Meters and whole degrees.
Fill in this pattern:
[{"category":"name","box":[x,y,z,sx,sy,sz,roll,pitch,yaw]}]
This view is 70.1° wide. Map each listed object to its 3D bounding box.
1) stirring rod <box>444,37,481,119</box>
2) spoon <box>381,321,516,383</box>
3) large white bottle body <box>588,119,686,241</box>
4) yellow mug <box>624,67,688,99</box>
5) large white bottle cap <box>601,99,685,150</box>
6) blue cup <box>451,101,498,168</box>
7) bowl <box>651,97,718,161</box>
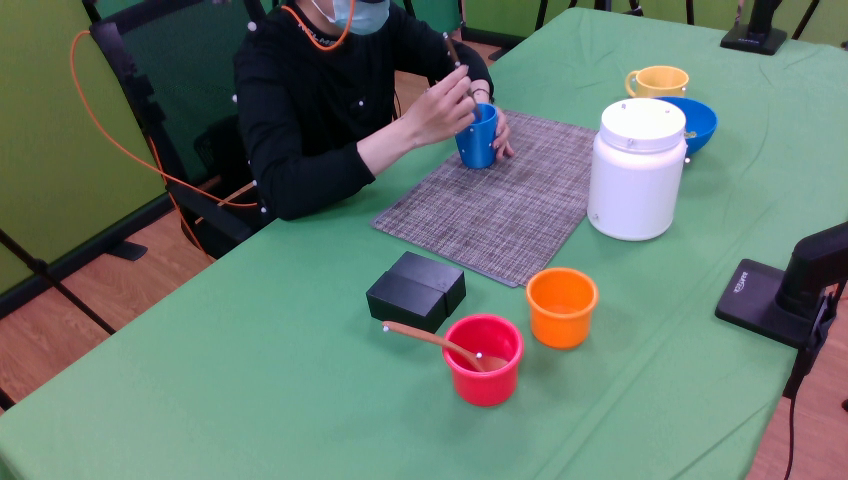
[{"category":"stirring rod","box":[0.068,-0.265,1.014,0.006,0.177,0.014,-7,50,23]},{"category":"spoon","box":[0.033,0.131,0.726,0.195,0.021,0.041,29,30,-26]},{"category":"large white bottle body","box":[0.324,-0.105,0.926,0.130,0.185,0.130,-5,41,4]},{"category":"yellow mug","box":[0.464,-0.305,1.230,0.100,0.064,0.129,-34,46,-27]},{"category":"large white bottle cap","box":[0.314,-0.169,0.870,0.115,0.018,0.114,-4,41,4]},{"category":"blue cup","box":[0.097,-0.190,1.117,0.092,0.100,0.092,-6,38,5]},{"category":"bowl","box":[0.439,-0.187,1.087,0.151,0.077,0.150,-4,41,4]}]
